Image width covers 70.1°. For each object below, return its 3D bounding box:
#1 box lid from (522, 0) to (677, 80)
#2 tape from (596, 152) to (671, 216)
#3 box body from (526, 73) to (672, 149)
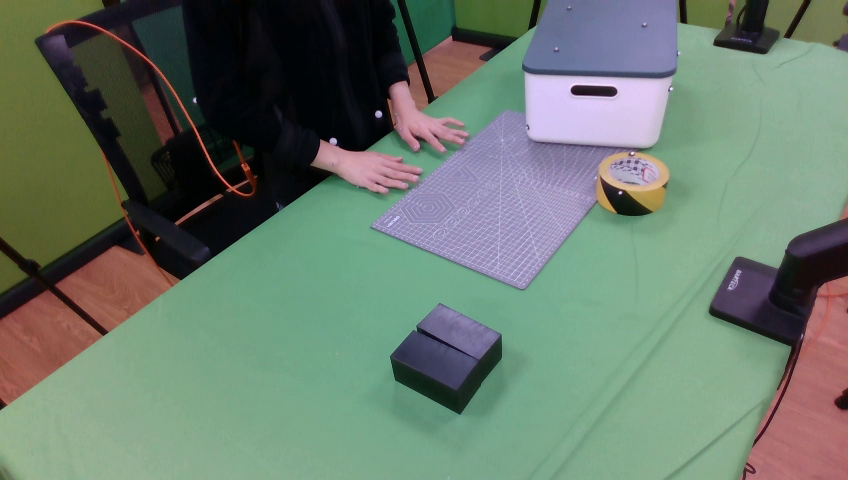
[{"bbox_3d":[0.346,-0.397,1.162,0.262,0.015,0.371,6,42,17],"label":"box lid"},{"bbox_3d":[0.349,-0.095,1.009,0.117,0.053,0.116,-3,42,3],"label":"tape"},{"bbox_3d":[0.356,-0.342,1.212,0.253,0.161,0.363,7,42,17],"label":"box body"}]
